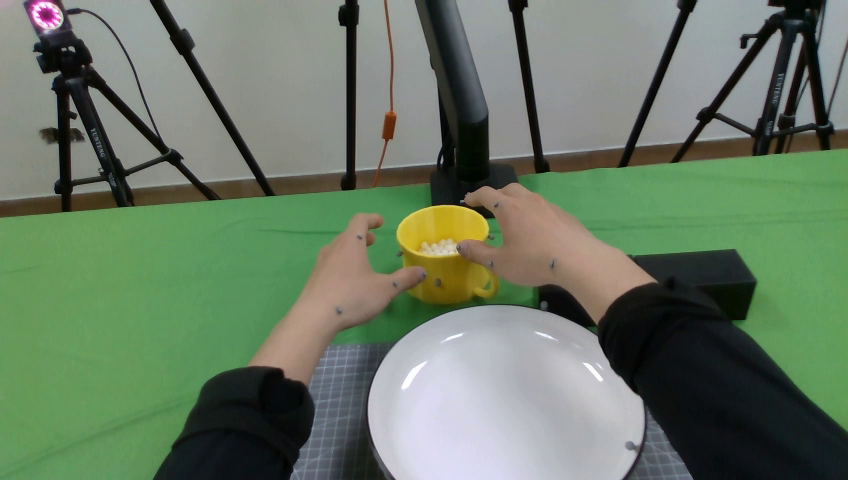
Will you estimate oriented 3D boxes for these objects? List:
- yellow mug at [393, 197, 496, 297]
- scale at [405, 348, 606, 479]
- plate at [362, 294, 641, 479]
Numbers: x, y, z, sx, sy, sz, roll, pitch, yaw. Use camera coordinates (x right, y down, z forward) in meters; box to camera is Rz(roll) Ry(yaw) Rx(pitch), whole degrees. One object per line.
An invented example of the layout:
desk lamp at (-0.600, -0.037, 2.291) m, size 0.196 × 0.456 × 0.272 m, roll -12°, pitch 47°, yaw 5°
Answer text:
yellow mug at (0.029, 0.012, 0.656) m, size 0.100 × 0.064 × 0.129 m, roll -32°, pitch 45°, yaw -30°
scale at (0.059, 0.167, 0.465) m, size 0.148 × 0.032 × 0.199 m, roll -4°, pitch 37°, yaw 2°
plate at (0.057, 0.124, 0.469) m, size 0.209 × 0.038 × 0.207 m, roll -2°, pitch 37°, yaw 2°
